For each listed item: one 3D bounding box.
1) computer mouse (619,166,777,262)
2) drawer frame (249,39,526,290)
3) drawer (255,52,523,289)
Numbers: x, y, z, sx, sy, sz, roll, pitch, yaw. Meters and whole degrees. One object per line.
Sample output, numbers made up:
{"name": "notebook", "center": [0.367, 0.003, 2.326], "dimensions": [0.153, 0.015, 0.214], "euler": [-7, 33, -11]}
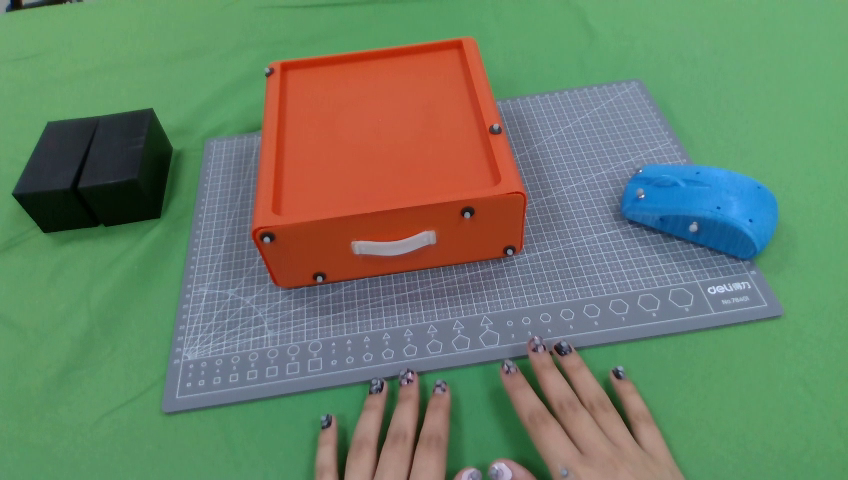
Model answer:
{"name": "computer mouse", "center": [0.220, -0.028, 0.490], "dimensions": [0.116, 0.041, 0.062], "euler": [20, 56, 26]}
{"name": "drawer frame", "center": [-0.035, -0.071, 0.521], "dimensions": [0.202, 0.083, 0.211], "euler": [-9, 49, -1]}
{"name": "drawer", "center": [-0.034, -0.069, 0.520], "dimensions": [0.194, 0.074, 0.209], "euler": [-8, 49, -1]}
